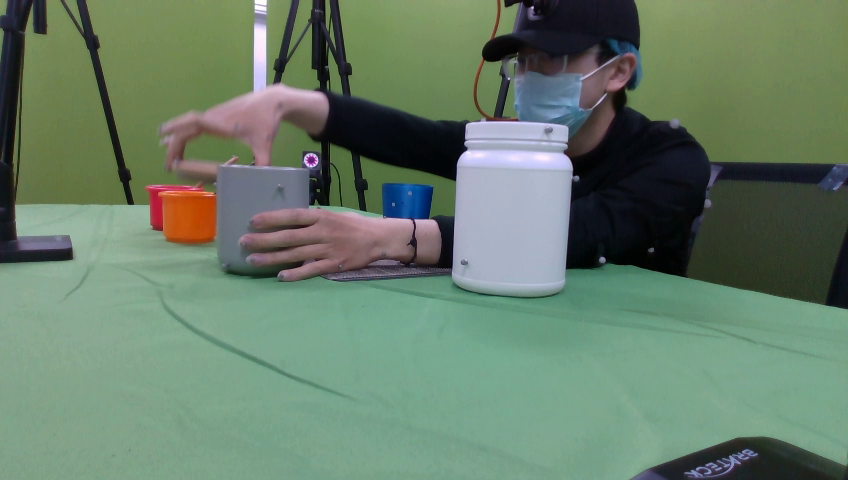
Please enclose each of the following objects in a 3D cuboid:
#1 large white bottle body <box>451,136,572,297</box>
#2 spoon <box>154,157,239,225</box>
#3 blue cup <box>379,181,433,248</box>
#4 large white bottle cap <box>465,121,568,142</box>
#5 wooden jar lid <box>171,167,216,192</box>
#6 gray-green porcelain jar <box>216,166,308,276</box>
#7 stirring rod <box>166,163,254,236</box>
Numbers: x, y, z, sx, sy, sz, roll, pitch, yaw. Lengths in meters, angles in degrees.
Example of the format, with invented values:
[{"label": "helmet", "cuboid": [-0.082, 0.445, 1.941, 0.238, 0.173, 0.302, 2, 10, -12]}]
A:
[{"label": "large white bottle body", "cuboid": [0.099, -0.037, 0.688, 0.131, 0.184, 0.130, 2, 7, 0]}, {"label": "spoon", "cuboid": [-0.411, -0.092, 1.105, 0.041, 0.022, 0.194, 13, 56, 51]}, {"label": "blue cup", "cuboid": [-0.029, -0.042, 0.979, 0.093, 0.100, 0.092, 3, 9, 0]}, {"label": "large white bottle cap", "cuboid": [0.103, -0.120, 0.677, 0.115, 0.018, 0.115, 2, 7, 0]}, {"label": "wooden jar lid", "cuboid": [-0.286, -0.081, 0.822, 0.108, 0.020, 0.108, 7, 11, -1]}, {"label": "gray-green porcelain jar", "cuboid": [-0.195, -0.025, 0.728, 0.106, 0.126, 0.106, 3, 7, 0]}, {"label": "stirring rod", "cuboid": [-0.341, -0.066, 0.967, 0.176, 0.006, 0.014, -42, 23, -9]}]
